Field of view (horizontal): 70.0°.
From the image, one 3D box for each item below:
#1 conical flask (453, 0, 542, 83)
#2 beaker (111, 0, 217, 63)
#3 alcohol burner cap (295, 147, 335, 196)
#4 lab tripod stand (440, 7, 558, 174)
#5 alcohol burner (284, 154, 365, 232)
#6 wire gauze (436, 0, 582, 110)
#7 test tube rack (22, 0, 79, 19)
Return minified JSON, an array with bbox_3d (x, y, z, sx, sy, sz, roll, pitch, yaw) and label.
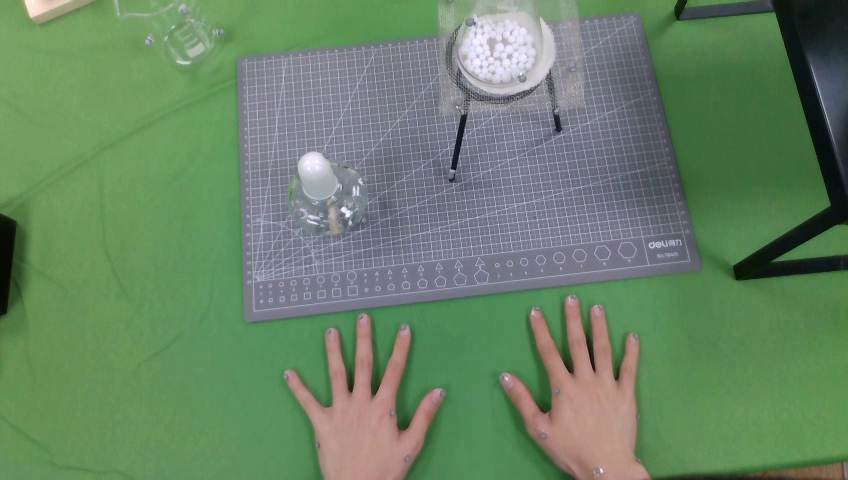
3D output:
[{"bbox_3d":[0.060,-0.181,0.459,0.075,0.122,0.075,0,74,2],"label":"conical flask"},{"bbox_3d":[-0.271,-0.240,0.638,0.073,0.101,0.084,40,79,13],"label":"beaker"},{"bbox_3d":[-0.098,-0.063,0.534,0.034,0.048,0.033,0,67,0],"label":"alcohol burner cap"},{"bbox_3d":[0.066,-0.145,0.579,0.148,0.132,0.147,0,72,1],"label":"lab tripod stand"},{"bbox_3d":[-0.096,-0.051,0.568,0.078,0.120,0.077,0,72,0],"label":"alcohol burner"},{"bbox_3d":[0.070,-0.168,0.517,0.121,0.011,0.124,-1,72,-1],"label":"wire gauze"},{"bbox_3d":[-0.358,-0.347,0.678,0.242,0.085,0.066,-26,75,-6],"label":"test tube rack"}]
